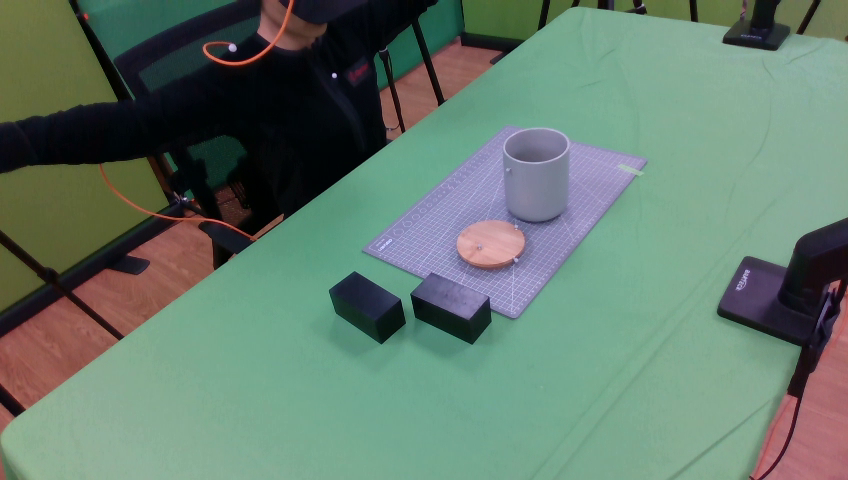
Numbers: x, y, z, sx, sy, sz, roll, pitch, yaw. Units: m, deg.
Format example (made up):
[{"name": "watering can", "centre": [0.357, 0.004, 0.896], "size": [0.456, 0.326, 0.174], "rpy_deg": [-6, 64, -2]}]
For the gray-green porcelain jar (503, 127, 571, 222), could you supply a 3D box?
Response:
[{"name": "gray-green porcelain jar", "centre": [0.184, -0.102, 0.983], "size": [0.106, 0.127, 0.105], "rpy_deg": [-5, 40, 5]}]

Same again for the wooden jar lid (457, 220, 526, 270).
[{"name": "wooden jar lid", "centre": [0.106, 0.009, 0.950], "size": [0.108, 0.021, 0.108], "rpy_deg": [-4, 40, 4]}]
